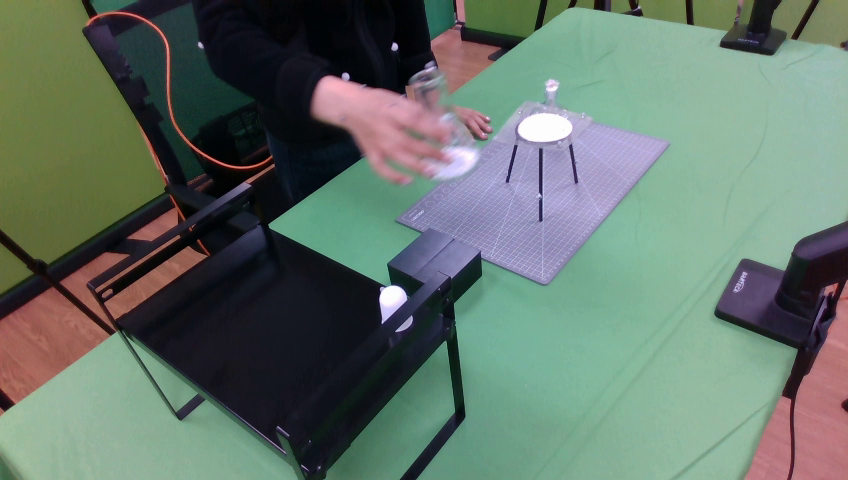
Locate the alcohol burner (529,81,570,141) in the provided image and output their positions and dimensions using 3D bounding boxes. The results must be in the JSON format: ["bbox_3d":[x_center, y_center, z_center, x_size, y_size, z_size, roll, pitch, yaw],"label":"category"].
[{"bbox_3d":[0.241,-0.251,1.159,0.078,0.119,0.077,-3,42,4],"label":"alcohol burner"}]

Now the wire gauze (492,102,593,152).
[{"bbox_3d":[0.190,-0.180,0.964,0.120,0.011,0.125,19,47,27],"label":"wire gauze"}]

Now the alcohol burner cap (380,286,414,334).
[{"bbox_3d":[-0.029,0.068,0.605,0.034,0.048,0.033,-5,39,4],"label":"alcohol burner cap"}]

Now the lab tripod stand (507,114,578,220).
[{"bbox_3d":[0.198,-0.128,1.005,0.148,0.132,0.147,-3,42,4],"label":"lab tripod stand"}]

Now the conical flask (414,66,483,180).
[{"bbox_3d":[0.021,-0.134,0.692,0.075,0.122,0.075,-10,39,9],"label":"conical flask"}]
